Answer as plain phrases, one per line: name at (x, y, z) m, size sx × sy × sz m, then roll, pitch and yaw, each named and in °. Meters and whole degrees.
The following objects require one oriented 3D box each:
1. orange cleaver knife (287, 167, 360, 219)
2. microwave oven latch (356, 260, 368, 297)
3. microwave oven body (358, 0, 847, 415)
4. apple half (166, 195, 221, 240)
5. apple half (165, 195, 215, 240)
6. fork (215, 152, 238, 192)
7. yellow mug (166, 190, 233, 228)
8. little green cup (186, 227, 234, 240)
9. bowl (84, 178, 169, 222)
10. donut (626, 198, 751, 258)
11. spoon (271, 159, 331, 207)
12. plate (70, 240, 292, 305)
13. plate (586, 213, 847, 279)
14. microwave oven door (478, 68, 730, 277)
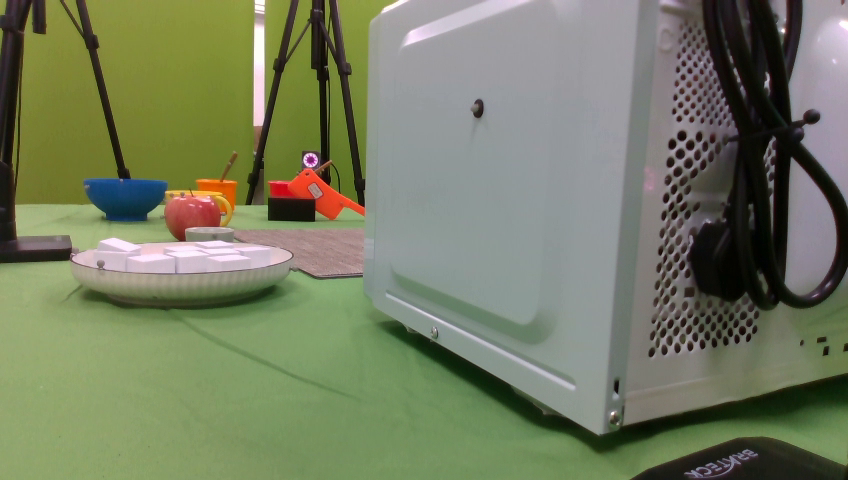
orange cleaver knife at (-0.209, -0.089, 1.383) m, size 0.212 × 0.077 × 0.012 m, roll 31°, pitch 3°, yaw -15°
microwave oven latch at (-0.020, 0.033, 0.530) m, size 0.079 × 0.029 × 0.030 m, roll 0°, pitch 7°, yaw -26°
microwave oven body at (0.211, -0.047, 0.475) m, size 0.444 × 0.260 × 0.324 m, roll -1°, pitch 7°, yaw -28°
apple half at (-0.351, -0.031, 0.935) m, size 0.081 × 0.074 × 0.053 m, roll 1°, pitch 11°, yaw -40°
apple half at (-0.377, -0.038, 0.964) m, size 0.082 × 0.081 × 0.032 m, roll -4°, pitch 15°, yaw -39°
fork at (-0.455, -0.132, 1.367) m, size 0.028 × 0.018 × 0.207 m, roll -2°, pitch -35°, yaw -37°
yellow mug at (-0.415, -0.057, 1.132) m, size 0.130 × 0.064 × 0.100 m, roll 6°, pitch 8°, yaw 16°
little green cup at (-0.284, 0.005, 0.805) m, size 0.061 × 0.038 × 0.061 m, roll 2°, pitch 8°, yaw 0°
bowl at (-0.584, -0.078, 1.194) m, size 0.151 × 0.077 × 0.151 m, roll 3°, pitch 8°, yaw 0°
donut at (0.226, -0.010, 0.520) m, size 0.099 × 0.048 × 0.099 m, roll 4°, pitch 6°, yaw 0°
spoon at (-0.308, -0.142, 1.514) m, size 0.193 × 0.021 × 0.041 m, roll -41°, pitch 5°, yaw 9°
plate at (-0.241, 0.031, 0.618) m, size 0.208 × 0.039 × 0.207 m, roll 2°, pitch 8°, yaw 0°
plate at (0.243, 0.002, 0.512) m, size 0.209 × 0.038 × 0.209 m, roll 2°, pitch 7°, yaw 0°
microwave oven door at (0.218, -0.097, 0.825) m, size 0.039 × 0.243 × 0.354 m, roll -5°, pitch 10°, yaw -42°
